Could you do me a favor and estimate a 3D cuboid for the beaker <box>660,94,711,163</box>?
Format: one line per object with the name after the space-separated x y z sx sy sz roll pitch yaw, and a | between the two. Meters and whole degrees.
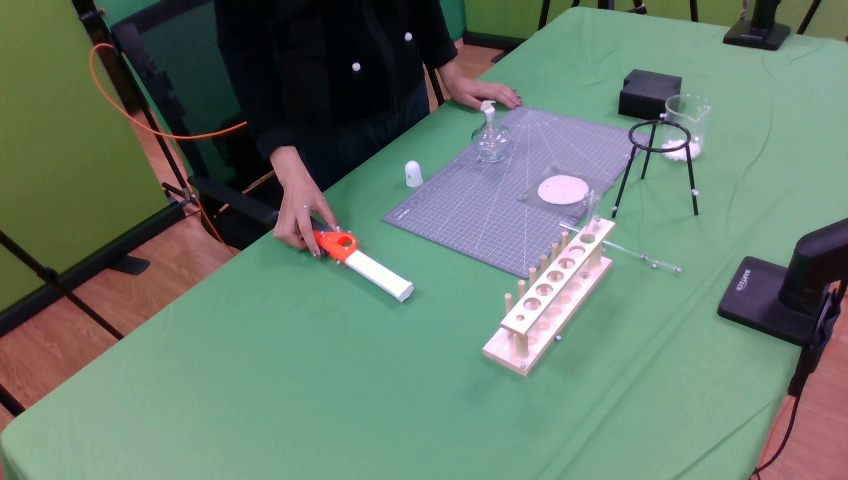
0.457 -0.192 1.063 0.074 0.101 0.083 -7 41 4 | beaker

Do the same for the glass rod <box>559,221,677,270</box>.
0.292 0.007 0.927 0.198 0.008 0.008 26 52 36 | glass rod

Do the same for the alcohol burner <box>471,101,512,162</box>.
0.125 -0.207 1.126 0.078 0.119 0.077 -5 43 5 | alcohol burner

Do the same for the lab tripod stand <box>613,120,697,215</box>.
0.369 -0.112 0.958 0.148 0.132 0.147 -4 40 4 | lab tripod stand

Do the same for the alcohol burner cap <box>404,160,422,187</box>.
-0.023 -0.126 1.118 0.034 0.048 0.033 -3 41 3 | alcohol burner cap

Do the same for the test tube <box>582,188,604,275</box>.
0.228 -0.007 0.821 0.017 0.151 0.017 -3 42 3 | test tube

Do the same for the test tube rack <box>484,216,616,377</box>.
0.174 0.064 0.823 0.066 0.085 0.243 23 49 33 | test tube rack

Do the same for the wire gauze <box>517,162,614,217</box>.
0.245 -0.088 1.046 0.120 0.011 0.125 25 50 32 | wire gauze

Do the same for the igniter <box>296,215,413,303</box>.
-0.122 0.024 0.969 0.274 0.025 0.057 30 63 36 | igniter
